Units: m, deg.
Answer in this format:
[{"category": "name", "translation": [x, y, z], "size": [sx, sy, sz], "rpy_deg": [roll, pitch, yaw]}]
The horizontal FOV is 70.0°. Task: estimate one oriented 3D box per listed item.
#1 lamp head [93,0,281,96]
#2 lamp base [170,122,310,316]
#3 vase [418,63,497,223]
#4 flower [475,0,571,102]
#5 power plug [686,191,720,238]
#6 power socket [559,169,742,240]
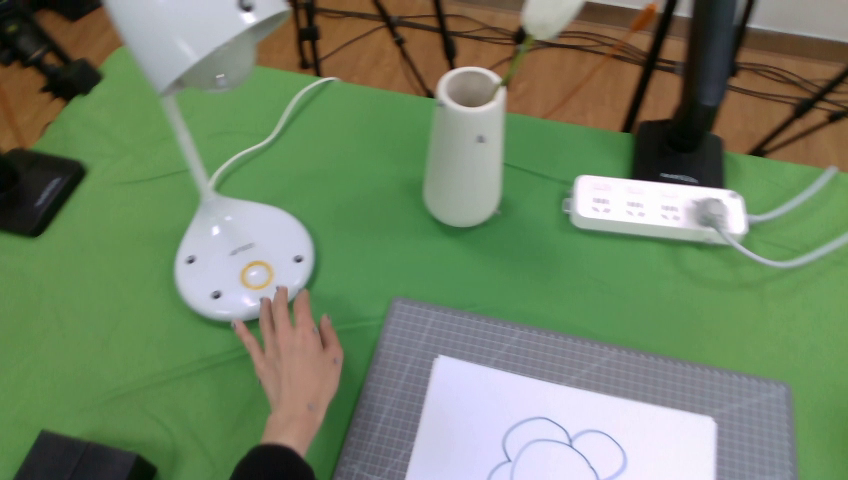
[{"category": "lamp head", "translation": [-0.179, -0.177, 0.417], "size": [0.112, 0.112, 0.123], "rpy_deg": [-45, 105, -25]}, {"category": "lamp base", "translation": [-0.227, -0.031, 0.667], "size": [0.160, 0.182, 0.177], "rpy_deg": [-37, 61, -22]}, {"category": "vase", "translation": [0.040, -0.108, 0.710], "size": [0.098, 0.202, 0.097], "rpy_deg": [0, 56, 1]}, {"category": "flower", "translation": [0.057, -0.143, 0.635], "size": [0.044, 0.362, 0.038], "rpy_deg": [-24, 77, -25]}, {"category": "power plug", "translation": [0.334, -0.027, 0.733], "size": [0.035, 0.053, 0.072], "rpy_deg": [16, 64, 10]}, {"category": "power socket", "translation": [0.288, -0.045, 0.772], "size": [0.226, 0.033, 0.071], "rpy_deg": [7, 58, 3]}]
